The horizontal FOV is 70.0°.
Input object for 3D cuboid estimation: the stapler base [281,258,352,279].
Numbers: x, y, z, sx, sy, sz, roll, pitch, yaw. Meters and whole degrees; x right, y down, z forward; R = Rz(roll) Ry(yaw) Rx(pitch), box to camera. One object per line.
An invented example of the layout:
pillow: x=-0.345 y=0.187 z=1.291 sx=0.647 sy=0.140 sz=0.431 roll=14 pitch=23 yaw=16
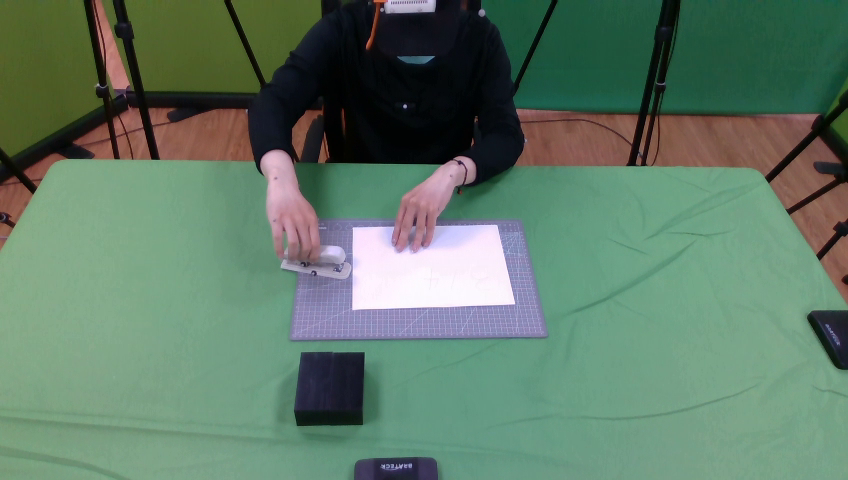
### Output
stapler base: x=-0.202 y=0.041 z=1.135 sx=0.130 sy=0.024 sz=0.041 roll=9 pitch=44 yaw=7

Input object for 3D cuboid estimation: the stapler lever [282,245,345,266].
stapler lever: x=-0.203 y=0.024 z=1.116 sx=0.118 sy=0.040 sz=0.026 roll=9 pitch=45 yaw=7
